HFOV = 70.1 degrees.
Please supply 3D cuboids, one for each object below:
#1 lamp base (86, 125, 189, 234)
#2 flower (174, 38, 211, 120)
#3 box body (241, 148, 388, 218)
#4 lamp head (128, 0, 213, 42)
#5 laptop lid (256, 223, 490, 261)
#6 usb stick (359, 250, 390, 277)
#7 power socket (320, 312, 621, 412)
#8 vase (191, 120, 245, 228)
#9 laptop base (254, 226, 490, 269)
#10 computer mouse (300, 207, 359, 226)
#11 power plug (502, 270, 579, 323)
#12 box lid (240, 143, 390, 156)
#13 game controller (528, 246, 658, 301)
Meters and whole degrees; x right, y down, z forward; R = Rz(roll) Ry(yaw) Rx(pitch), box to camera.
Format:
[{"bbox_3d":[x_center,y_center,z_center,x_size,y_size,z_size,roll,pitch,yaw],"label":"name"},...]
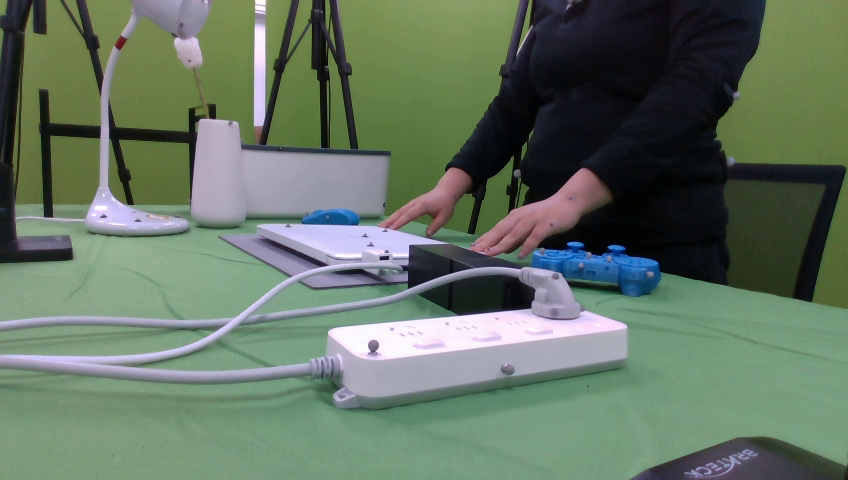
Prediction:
[{"bbox_3d":[-0.497,-0.105,1.027,0.179,0.180,0.160,1,7,3],"label":"lamp base"},{"bbox_3d":[-0.401,-0.207,1.141,0.038,0.361,0.044,-14,3,44],"label":"flower"},{"bbox_3d":[-0.297,-0.143,1.474,0.366,0.160,0.253,-1,9,-30],"label":"box body"},{"bbox_3d":[-0.423,-0.394,0.980,0.123,0.112,0.112,20,7,-3],"label":"lamp head"},{"bbox_3d":[-0.093,0.000,0.912,0.243,0.013,0.355,2,7,-30],"label":"laptop lid"},{"bbox_3d":[-0.061,0.026,0.708,0.021,0.027,0.059,-5,6,-28],"label":"usb stick"},{"bbox_3d":[0.038,0.075,0.409,0.228,0.032,0.072,-2,8,-29],"label":"power socket"},{"bbox_3d":[-0.389,-0.124,1.143,0.098,0.200,0.098,3,9,0],"label":"vase"},{"bbox_3d":[-0.096,0.011,0.911,0.237,0.023,0.352,3,6,-32],"label":"laptop base"},{"bbox_3d":[-0.194,-0.046,1.241,0.117,0.041,0.063,0,10,11],"label":"computer mouse"},{"bbox_3d":[0.091,0.051,0.469,0.035,0.052,0.072,1,5,-18],"label":"power plug"},{"bbox_3d":[-0.295,-0.217,1.464,0.373,0.015,0.262,-1,8,-30],"label":"box lid"},{"bbox_3d":[0.202,0.037,0.733,0.155,0.051,0.097,5,10,19],"label":"game controller"}]
